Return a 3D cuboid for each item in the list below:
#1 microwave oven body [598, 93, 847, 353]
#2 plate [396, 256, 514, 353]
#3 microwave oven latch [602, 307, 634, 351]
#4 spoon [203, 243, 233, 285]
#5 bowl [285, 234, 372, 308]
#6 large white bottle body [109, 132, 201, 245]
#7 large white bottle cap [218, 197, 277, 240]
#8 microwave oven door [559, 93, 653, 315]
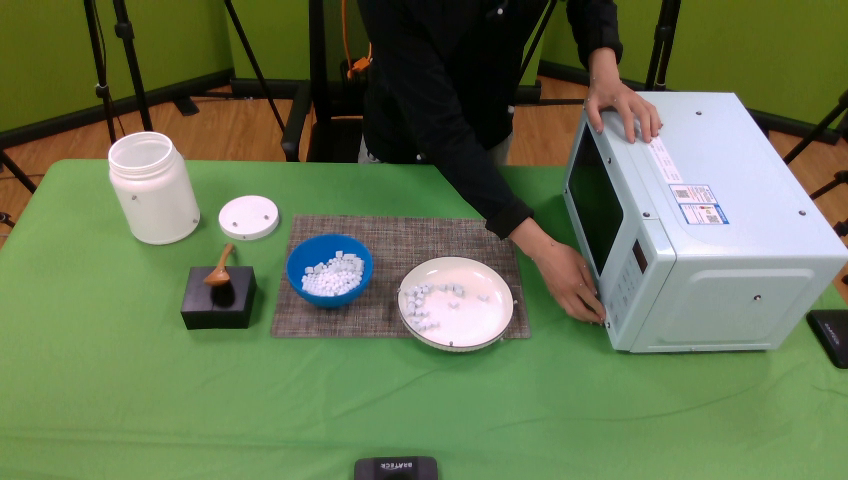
[{"bbox_3d":[0.475,-0.042,1.109,0.326,0.261,0.438,-1,45,-4],"label":"microwave oven body"},{"bbox_3d":[0.053,0.116,1.077,0.209,0.038,0.208,2,46,-2],"label":"plate"},{"bbox_3d":[0.332,0.153,1.044,0.030,0.029,0.078,-1,45,-4],"label":"microwave oven latch"},{"bbox_3d":[-0.360,0.039,1.087,0.041,0.022,0.192,-5,24,-7],"label":"spoon"},{"bbox_3d":[-0.167,0.068,1.077,0.151,0.077,0.150,3,46,-2],"label":"bowl"},{"bbox_3d":[-0.506,-0.097,1.141,0.131,0.185,0.130,2,46,-2],"label":"large white bottle body"},{"bbox_3d":[-0.354,-0.045,1.220,0.115,0.018,0.114,2,45,-1],"label":"large white bottle cap"},{"bbox_3d":[0.327,-0.074,1.123,0.039,0.245,0.353,-1,46,-5],"label":"microwave oven door"}]
